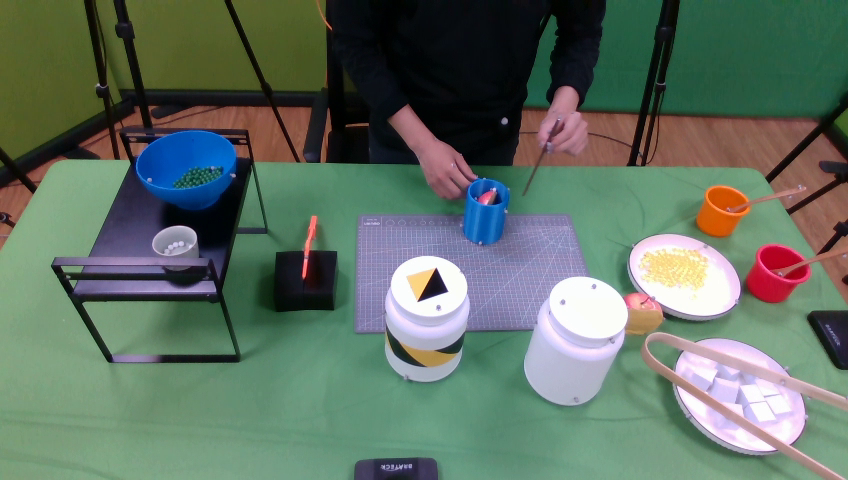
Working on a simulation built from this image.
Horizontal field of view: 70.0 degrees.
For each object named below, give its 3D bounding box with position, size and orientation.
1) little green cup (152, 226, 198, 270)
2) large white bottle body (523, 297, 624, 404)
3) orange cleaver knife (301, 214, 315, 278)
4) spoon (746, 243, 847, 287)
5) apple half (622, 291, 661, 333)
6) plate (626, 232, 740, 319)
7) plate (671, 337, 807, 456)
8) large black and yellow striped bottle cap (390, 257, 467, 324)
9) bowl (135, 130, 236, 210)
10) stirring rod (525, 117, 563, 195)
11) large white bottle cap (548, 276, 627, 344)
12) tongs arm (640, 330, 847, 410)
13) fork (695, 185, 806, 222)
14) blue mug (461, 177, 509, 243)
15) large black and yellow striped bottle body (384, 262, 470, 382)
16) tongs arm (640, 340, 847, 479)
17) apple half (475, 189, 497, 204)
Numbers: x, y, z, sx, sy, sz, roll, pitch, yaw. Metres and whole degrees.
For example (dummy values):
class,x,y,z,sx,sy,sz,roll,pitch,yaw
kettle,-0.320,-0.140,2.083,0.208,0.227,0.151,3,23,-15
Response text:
class,x,y,z,sx,sy,sz,roll,pitch,yaw
little green cup,-0.364,0.013,0.894,0.061,0.039,0.061,3,46,-3
large white bottle body,0.235,0.159,0.952,0.131,0.185,0.130,2,47,-2
orange cleaver knife,-0.218,0.007,1.131,0.012,0.077,0.210,7,19,-9
spoon,0.702,0.043,1.126,0.194,0.022,0.041,-29,38,30
apple half,0.372,0.123,1.074,0.081,0.075,0.053,0,42,1
plate,0.489,0.071,1.157,0.209,0.038,0.208,3,46,-2
plate,0.504,0.254,0.984,0.208,0.039,0.206,2,46,-2
large black and yellow striped bottle cap,0.007,0.072,0.898,0.115,0.019,0.114,2,47,-2
bowl,-0.375,-0.102,0.977,0.151,0.077,0.150,2,46,-2
stirring rod,0.214,-0.147,1.093,0.006,0.177,0.014,28,45,11
large white bottle cap,0.240,0.100,0.890,0.115,0.018,0.114,3,47,-3
tongs arm,0.543,0.225,0.969,0.384,0.026,0.050,22,52,13
fork,0.658,-0.074,1.229,0.207,0.019,0.028,-23,34,37
blue mug,0.115,-0.070,1.211,0.082,0.106,0.115,-9,48,-13
large black and yellow striped bottle body,0.002,0.127,0.962,0.131,0.185,0.130,2,48,-2
tongs arm,0.500,0.277,0.919,0.386,0.028,0.028,34,59,22
apple half,0.111,-0.067,1.195,0.033,0.081,0.081,28,50,9
